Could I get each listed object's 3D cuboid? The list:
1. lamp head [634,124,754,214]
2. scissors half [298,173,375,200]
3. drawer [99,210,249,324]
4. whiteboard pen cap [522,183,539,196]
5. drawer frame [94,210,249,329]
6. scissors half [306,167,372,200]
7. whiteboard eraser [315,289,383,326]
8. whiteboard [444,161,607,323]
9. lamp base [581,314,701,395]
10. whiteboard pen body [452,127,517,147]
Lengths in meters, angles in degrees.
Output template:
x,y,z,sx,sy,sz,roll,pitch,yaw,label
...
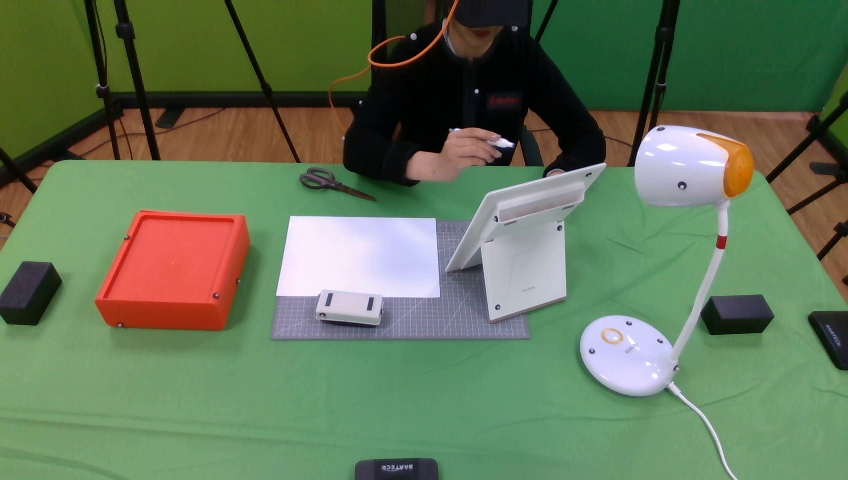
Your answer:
x,y,z,sx,sy,sz,roll,pitch,yaw,label
0.351,-0.089,0.776,0.112,0.113,0.122,-30,30,-28,lamp head
-0.188,-0.110,1.296,0.175,0.013,0.040,15,42,5,scissors half
-0.435,0.044,1.081,0.194,0.073,0.210,3,46,-2,drawer
0.203,-0.097,1.158,0.033,0.018,0.018,20,40,-27,whiteboard pen cap
-0.435,0.048,1.076,0.202,0.083,0.212,2,47,-3,drawer frame
-0.180,-0.120,1.311,0.174,0.013,0.040,27,39,18,scissors half
-0.130,0.119,1.054,0.113,0.042,0.055,6,47,1,whiteboard eraser
0.186,0.025,1.029,0.217,0.306,0.143,-14,68,-18,whiteboard
0.361,0.144,0.972,0.178,0.181,0.160,34,53,23,lamp base
0.107,-0.182,1.082,0.140,0.017,0.017,21,46,36,whiteboard pen body
